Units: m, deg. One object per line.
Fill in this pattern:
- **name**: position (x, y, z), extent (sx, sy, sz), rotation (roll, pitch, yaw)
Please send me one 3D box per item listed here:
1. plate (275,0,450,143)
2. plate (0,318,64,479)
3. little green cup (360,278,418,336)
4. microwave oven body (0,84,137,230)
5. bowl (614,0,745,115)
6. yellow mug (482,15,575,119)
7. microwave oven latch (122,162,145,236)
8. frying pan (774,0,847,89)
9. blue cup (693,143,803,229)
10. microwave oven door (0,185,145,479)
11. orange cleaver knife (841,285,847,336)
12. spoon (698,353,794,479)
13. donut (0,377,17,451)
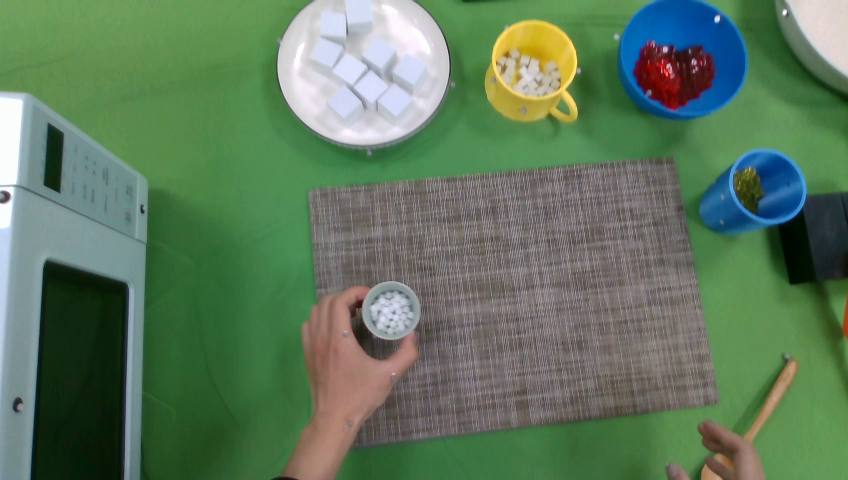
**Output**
- **plate**: position (-0.072, -0.214, 0.736), extent (0.208, 0.039, 0.207), rotation (0, 80, -2)
- **plate**: position (-0.453, 0.174, 0.589), extent (0.209, 0.038, 0.208), rotation (1, 82, -3)
- **little green cup**: position (-0.037, 0.073, 0.649), extent (0.061, 0.039, 0.061), rotation (0, 79, -1)
- **microwave oven body**: position (-0.465, 0.117, 0.545), extent (0.326, 0.261, 0.440), rotation (-3, 81, -3)
- **bowl**: position (0.294, -0.212, 0.732), extent (0.151, 0.077, 0.151), rotation (0, 81, -2)
- **yellow mug**: position (0.134, -0.197, 0.728), extent (0.100, 0.064, 0.130), rotation (-43, 85, -9)
- **microwave oven latch**: position (-0.330, -0.045, 0.677), extent (0.030, 0.029, 0.079), rotation (-1, 81, -3)
- **frying pan**: position (0.578, -0.213, 0.730), extent (0.307, 0.103, 0.484), rotation (-1, 72, -2)
- **blue cup**: position (0.361, -0.053, 0.695), extent (0.093, 0.100, 0.092), rotation (1, 78, -3)
- **microwave oven door**: position (-0.318, 0.152, 0.540), extent (0.039, 0.244, 0.354), rotation (-3, 80, -3)
- **orange cleaver knife**: position (0.502, 0.097, 0.685), extent (0.012, 0.076, 0.212), rotation (-6, 109, -3)
- **spoon**: position (0.373, 0.207, 0.690), extent (0.041, 0.022, 0.193), rotation (37, 80, 17)
- **donut**: position (-0.442, 0.169, 0.577), extent (0.099, 0.048, 0.098), rotation (1, 81, -5)
